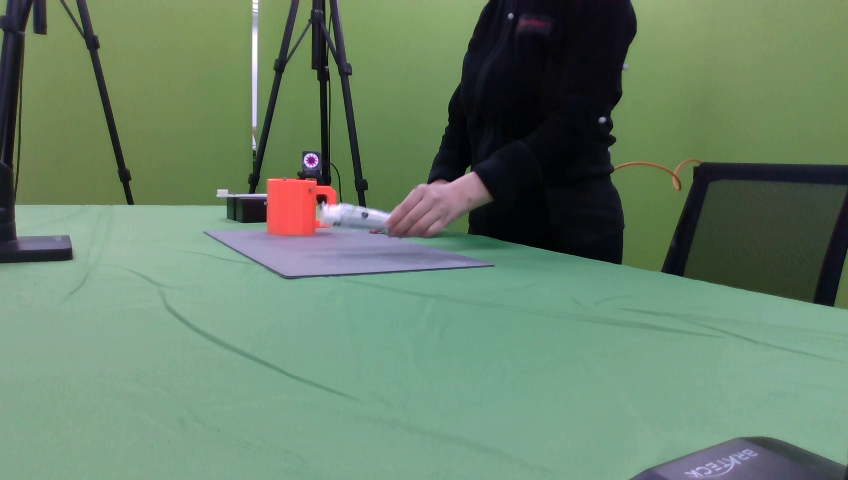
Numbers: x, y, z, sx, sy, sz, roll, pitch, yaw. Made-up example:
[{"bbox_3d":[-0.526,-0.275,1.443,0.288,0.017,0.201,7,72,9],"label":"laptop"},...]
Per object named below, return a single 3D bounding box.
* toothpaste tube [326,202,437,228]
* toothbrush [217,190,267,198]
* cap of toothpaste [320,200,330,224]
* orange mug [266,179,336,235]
[{"bbox_3d":[-0.065,-0.032,0.898,0.166,0.034,0.055,6,15,-14],"label":"toothpaste tube"},{"bbox_3d":[-0.343,-0.096,1.282,0.183,0.016,0.014,-1,5,-27],"label":"toothbrush"},{"bbox_3d":[-0.144,-0.041,0.879,0.011,0.037,0.037,-1,8,-22],"label":"cap of toothpaste"},{"bbox_3d":[-0.222,-0.062,1.094,0.127,0.101,0.083,-5,10,-22],"label":"orange mug"}]
